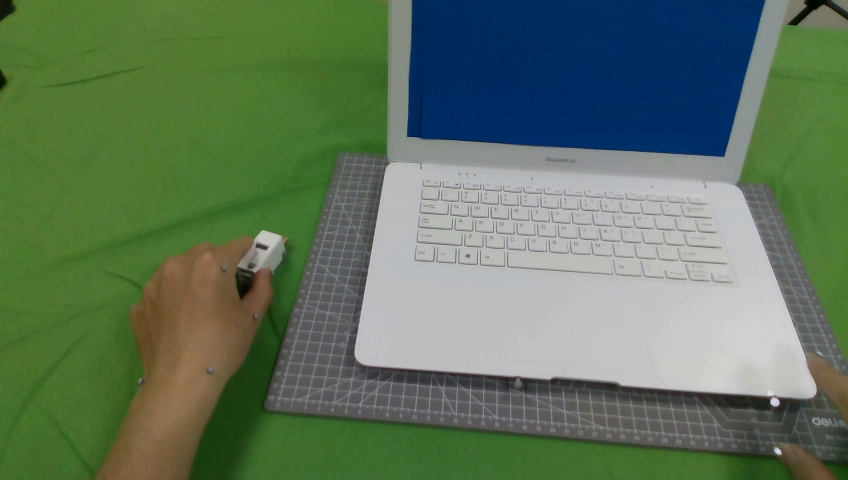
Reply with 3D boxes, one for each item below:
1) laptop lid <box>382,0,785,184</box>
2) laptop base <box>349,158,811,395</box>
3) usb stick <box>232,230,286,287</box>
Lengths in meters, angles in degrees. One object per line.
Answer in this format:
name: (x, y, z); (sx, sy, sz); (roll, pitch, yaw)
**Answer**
laptop lid: (0.138, -0.169, 0.561); (0.357, 0.243, 0.013); (2, 26, 1)
laptop base: (0.125, 0.022, 0.535); (0.354, 0.023, 0.233); (4, 51, 1)
usb stick: (-0.141, 0.011, 0.527); (0.021, 0.027, 0.059); (11, 46, 17)
